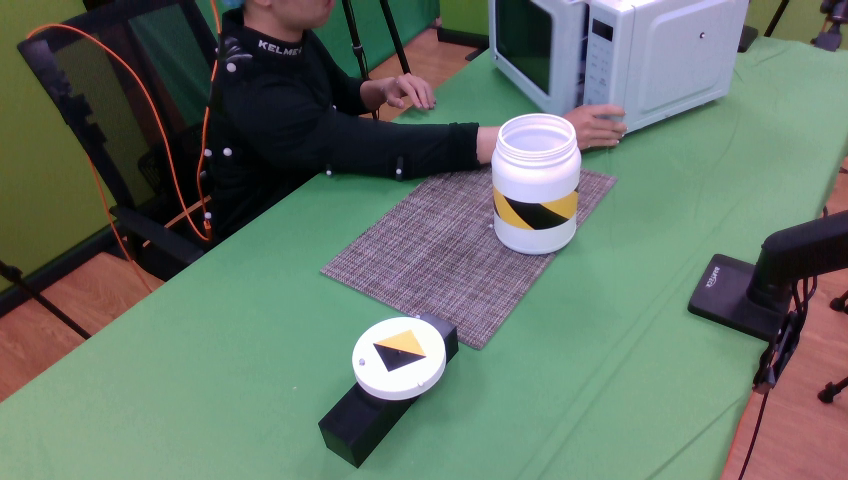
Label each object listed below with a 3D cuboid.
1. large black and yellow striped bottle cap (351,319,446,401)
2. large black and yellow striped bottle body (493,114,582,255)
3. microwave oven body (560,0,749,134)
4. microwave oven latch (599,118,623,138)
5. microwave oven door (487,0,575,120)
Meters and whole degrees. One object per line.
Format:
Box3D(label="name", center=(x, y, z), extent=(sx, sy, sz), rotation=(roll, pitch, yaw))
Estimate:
Box3D(label="large black and yellow striped bottle cap", center=(-0.031, 0.143, 0.735), extent=(0.115, 0.019, 0.114), rotation=(-3, 40, 3))
Box3D(label="large black and yellow striped bottle body", center=(0.170, -0.084, 0.913), extent=(0.131, 0.185, 0.130), rotation=(-4, 41, 4))
Box3D(label="microwave oven body", center=(0.382, -0.445, 1.246), extent=(0.327, 0.261, 0.437), rotation=(-22, 42, -16))
Box3D(label="microwave oven latch", center=(0.350, -0.222, 1.139), extent=(0.030, 0.029, 0.079), rotation=(-4, 40, 6))
Box3D(label="microwave oven door", center=(0.209, -0.412, 1.225), extent=(0.039, 0.245, 0.353), rotation=(-16, 41, -10))
